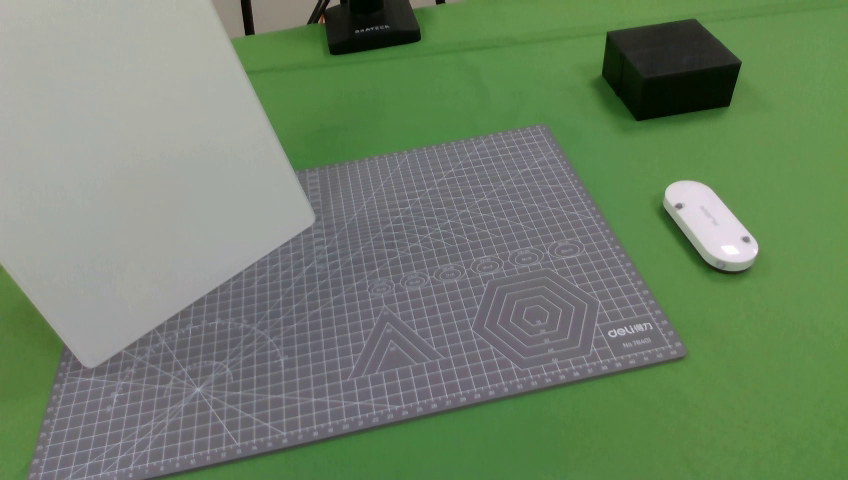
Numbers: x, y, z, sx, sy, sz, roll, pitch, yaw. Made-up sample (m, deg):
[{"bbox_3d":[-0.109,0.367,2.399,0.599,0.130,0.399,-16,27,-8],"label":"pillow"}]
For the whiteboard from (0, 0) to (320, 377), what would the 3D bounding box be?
[{"bbox_3d":[-0.260,-0.094,0.477,0.217,0.308,0.142,-37,32,-26],"label":"whiteboard"}]

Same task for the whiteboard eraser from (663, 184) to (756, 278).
[{"bbox_3d":[0.233,-0.011,0.499,0.041,0.019,0.100,-11,46,-5],"label":"whiteboard eraser"}]
